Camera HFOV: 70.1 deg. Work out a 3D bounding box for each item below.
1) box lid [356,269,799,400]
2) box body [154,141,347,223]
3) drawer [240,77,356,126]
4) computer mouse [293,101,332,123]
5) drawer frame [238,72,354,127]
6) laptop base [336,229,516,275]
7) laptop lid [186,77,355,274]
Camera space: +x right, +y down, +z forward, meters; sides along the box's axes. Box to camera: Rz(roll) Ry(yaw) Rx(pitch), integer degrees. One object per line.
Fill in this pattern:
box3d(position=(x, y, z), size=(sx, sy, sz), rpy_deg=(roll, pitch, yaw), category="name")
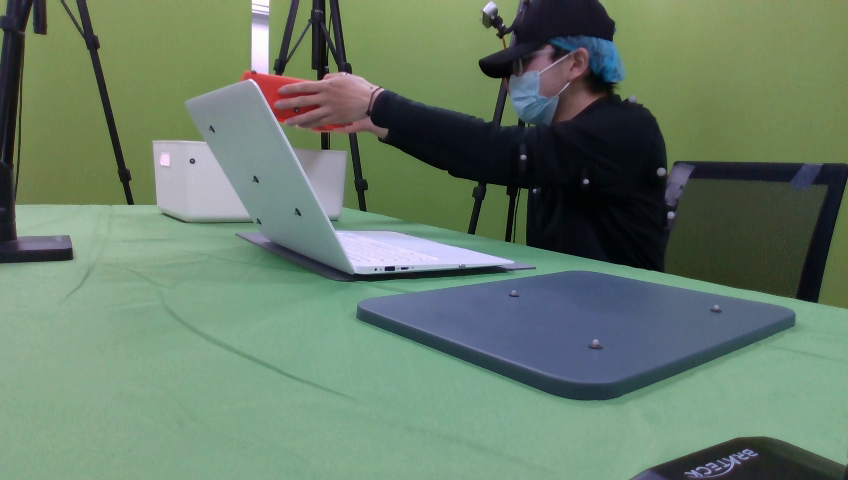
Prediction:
box3d(position=(0.152, 0.068, 0.565), size=(0.374, 0.015, 0.262), rpy_deg=(-4, 10, -41), category="box lid")
box3d(position=(-0.384, -0.132, 1.346), size=(0.366, 0.160, 0.253), rpy_deg=(-3, 9, -36), category="box body")
box3d(position=(-0.266, -0.286, 1.255), size=(0.213, 0.073, 0.193), rpy_deg=(3, 9, -21), category="drawer")
box3d(position=(-0.233, -0.266, 1.260), size=(0.063, 0.041, 0.116), rpy_deg=(4, 13, -24), category="computer mouse")
box3d(position=(-0.270, -0.287, 1.253), size=(0.214, 0.082, 0.201), rpy_deg=(2, 9, -22), category="drawer frame")
box3d(position=(-0.065, 0.014, 0.877), size=(0.237, 0.023, 0.352), rpy_deg=(1, 7, -32), category="laptop base")
box3d(position=(-0.211, -0.081, 0.772), size=(0.013, 0.242, 0.355), rpy_deg=(-35, 25, -23), category="laptop lid")
